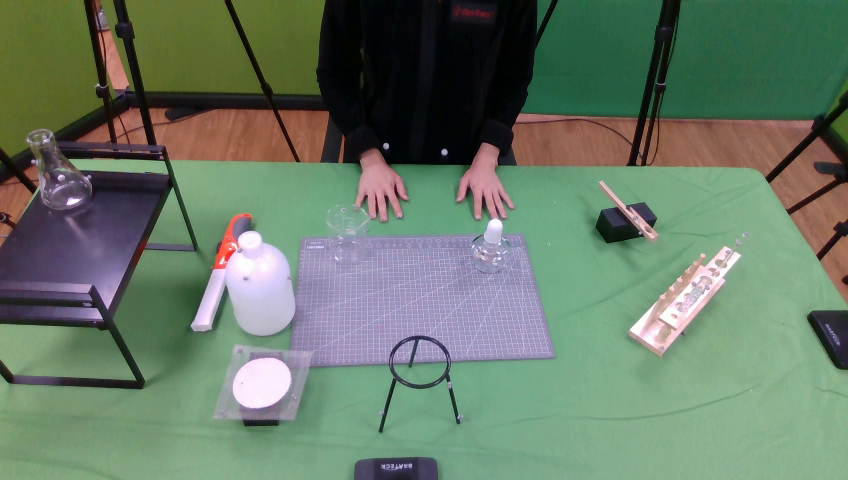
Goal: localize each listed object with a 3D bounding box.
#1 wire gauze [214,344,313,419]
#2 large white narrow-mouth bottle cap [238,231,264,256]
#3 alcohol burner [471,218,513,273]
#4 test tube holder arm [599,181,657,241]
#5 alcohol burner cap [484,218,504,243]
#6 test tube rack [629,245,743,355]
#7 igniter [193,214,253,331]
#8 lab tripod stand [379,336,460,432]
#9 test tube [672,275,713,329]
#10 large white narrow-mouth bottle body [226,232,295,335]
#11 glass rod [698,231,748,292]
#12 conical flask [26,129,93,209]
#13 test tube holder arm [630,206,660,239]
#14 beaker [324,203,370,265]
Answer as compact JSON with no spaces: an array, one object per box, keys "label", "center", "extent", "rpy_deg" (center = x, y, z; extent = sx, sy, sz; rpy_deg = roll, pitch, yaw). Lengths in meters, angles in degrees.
[{"label":"wire gauze","center":[-0.241,0.213,0.915],"extent":[0.121,0.011,0.124],"rpy_deg":[5,46,1]},{"label":"large white narrow-mouth bottle cap","center":[-0.266,0.006,0.932],"extent":[0.038,0.024,0.037],"rpy_deg":[2,46,-2]},{"label":"alcohol burner","center":[0.128,0.005,1.132],"extent":[0.078,0.120,0.077],"rpy_deg":[0,47,0]},{"label":"test tube holder arm","center":[0.407,-0.062,1.219],"extent":[0.013,0.015,0.177],"rpy_deg":[-23,51,-13]},{"label":"alcohol burner cap","center":[0.130,-0.021,1.106],"extent":[0.034,0.048,0.033],"rpy_deg":[3,51,-4]},{"label":"test tube rack","center":[0.474,0.095,1.091],"extent":[0.242,0.085,0.066],"rpy_deg":[-34,56,-31]},{"label":"igniter","center":[-0.368,0.050,1.119],"extent":[0.057,0.025,0.275],"rpy_deg":[-3,46,8]},{"label":"lab tripod stand","center":[-0.011,0.214,0.911],"extent":[0.148,0.132,0.147],"rpy_deg":[1,45,0]},{"label":"test tube","center":[0.438,0.106,1.007],"extent":[0.017,0.151,0.017],"rpy_deg":[4,51,-4]},{"label":"large white narrow-mouth bottle body","center":[-0.270,0.065,0.995],"extent":[0.102,0.195,0.101],"rpy_deg":[2,46,-2]},{"label":"glass rod","center":[0.514,0.044,1.051],"extent":[0.008,0.200,0.008],"rpy_deg":[1,55,-1]},{"label":"conical flask","center":[-0.575,-0.113,0.946],"extent":[0.075,0.122,0.075],"rpy_deg":[2,46,-2]},{"label":"test tube holder arm","center":[0.431,-0.034,1.192],"extent":[0.010,0.015,0.087],"rpy_deg":[-23,51,-12]},{"label":"beaker","center":[-0.142,-0.009,1.137],"extent":[0.084,0.101,0.073],"rpy_deg":[-3,47,-7]}]
